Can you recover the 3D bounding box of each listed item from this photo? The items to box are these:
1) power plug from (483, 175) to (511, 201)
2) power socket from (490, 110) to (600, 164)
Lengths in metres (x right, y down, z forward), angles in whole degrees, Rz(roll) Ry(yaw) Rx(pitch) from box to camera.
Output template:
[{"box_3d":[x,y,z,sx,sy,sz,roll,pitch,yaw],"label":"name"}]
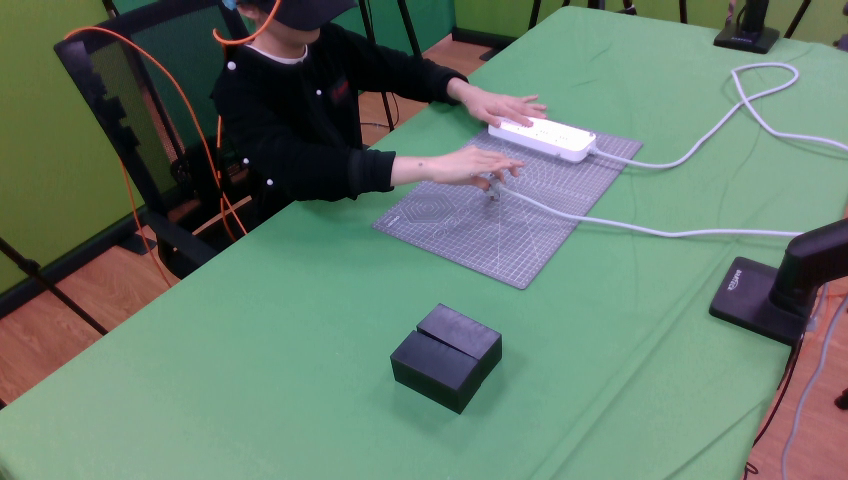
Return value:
[{"box_3d":[0.124,-0.079,1.026,0.035,0.053,0.072,-16,47,2],"label":"power plug"},{"box_3d":[0.226,-0.201,1.166,0.225,0.033,0.072,26,51,33],"label":"power socket"}]
